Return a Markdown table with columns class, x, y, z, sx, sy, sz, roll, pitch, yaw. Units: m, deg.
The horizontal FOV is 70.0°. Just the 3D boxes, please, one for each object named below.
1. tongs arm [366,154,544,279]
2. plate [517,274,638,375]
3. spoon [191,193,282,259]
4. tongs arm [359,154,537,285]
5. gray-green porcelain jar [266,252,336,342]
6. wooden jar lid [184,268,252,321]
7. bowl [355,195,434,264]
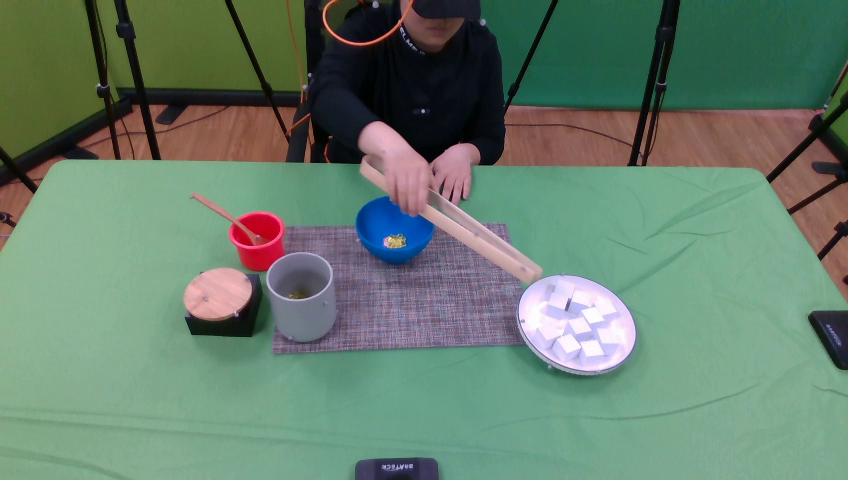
| class | x | y | z | sx | sy | sz | roll | pitch | yaw |
| --- | --- | --- | --- | --- | --- | --- | --- | --- | --- |
| tongs arm | 0.045 | -0.047 | 1.060 | 0.386 | 0.028 | 0.028 | 35 | 37 | 22 |
| plate | 0.264 | 0.149 | 1.060 | 0.209 | 0.038 | 0.208 | 3 | 46 | -3 |
| spoon | -0.342 | -0.027 | 1.115 | 0.194 | 0.021 | 0.041 | 43 | 41 | -25 |
| tongs arm | 0.032 | -0.042 | 1.043 | 0.383 | 0.026 | 0.051 | 33 | 33 | 18 |
| gray-green porcelain jar | -0.202 | 0.100 | 1.009 | 0.106 | 0.127 | 0.105 | 2 | 46 | -2 |
| wooden jar lid | -0.343 | 0.092 | 1.015 | 0.108 | 0.021 | 0.107 | 3 | 46 | -3 |
| bowl | -0.056 | -0.008 | 1.158 | 0.151 | 0.077 | 0.150 | 2 | 46 | -2 |
